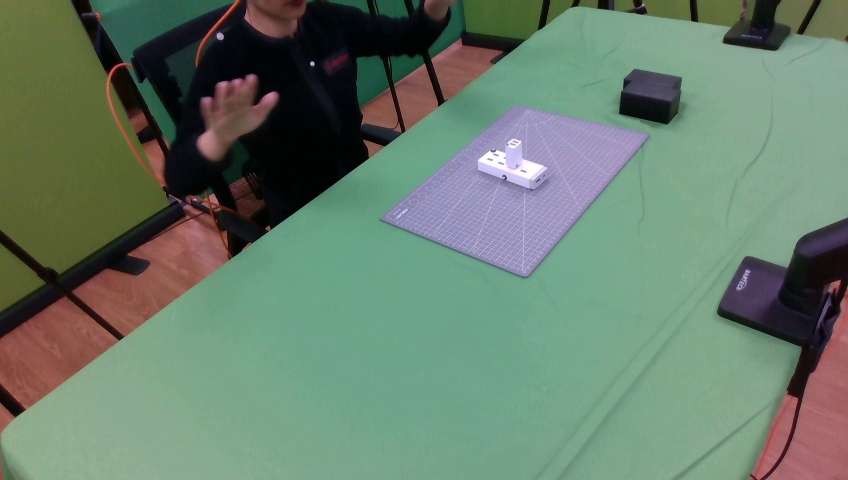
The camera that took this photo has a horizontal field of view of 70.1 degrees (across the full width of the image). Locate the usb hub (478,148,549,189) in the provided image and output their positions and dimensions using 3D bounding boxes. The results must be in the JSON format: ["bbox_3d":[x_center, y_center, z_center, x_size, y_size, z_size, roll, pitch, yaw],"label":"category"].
[{"bbox_3d":[0.161,-0.131,1.099,0.124,0.025,0.049,26,51,34],"label":"usb hub"}]

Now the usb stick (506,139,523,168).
[{"bbox_3d":[0.160,-0.148,1.074,0.021,0.059,0.027,24,48,33],"label":"usb stick"}]
